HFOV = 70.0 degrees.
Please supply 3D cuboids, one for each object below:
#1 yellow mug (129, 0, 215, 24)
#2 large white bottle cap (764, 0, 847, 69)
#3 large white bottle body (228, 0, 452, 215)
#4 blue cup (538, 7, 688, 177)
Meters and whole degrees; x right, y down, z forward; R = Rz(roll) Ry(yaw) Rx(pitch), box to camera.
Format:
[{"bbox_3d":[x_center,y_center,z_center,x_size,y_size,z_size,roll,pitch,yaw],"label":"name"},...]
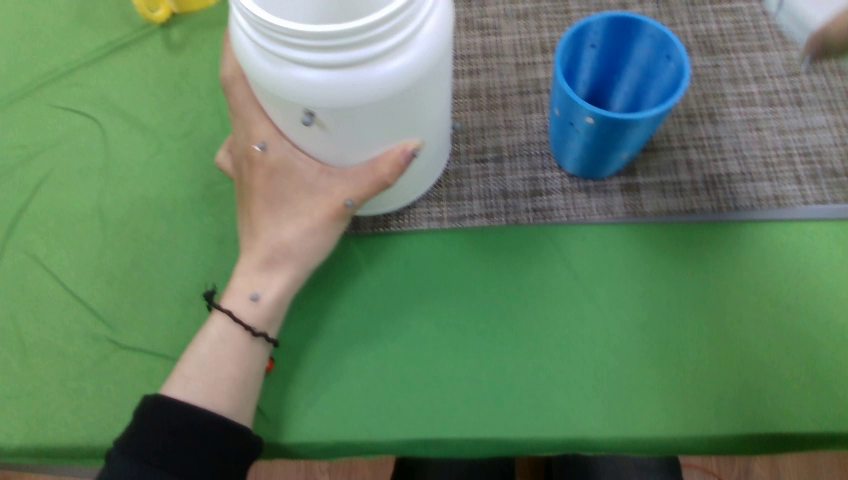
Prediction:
[{"bbox_3d":[-0.227,-0.248,0.527,0.100,0.064,0.130,8,68,5],"label":"yellow mug"},{"bbox_3d":[0.272,-0.157,0.375,0.115,0.018,0.114,-1,72,3],"label":"large white bottle cap"},{"bbox_3d":[-0.048,-0.112,0.395,0.130,0.186,0.129,0,66,1],"label":"large white bottle body"},{"bbox_3d":[0.126,-0.094,0.428,0.092,0.101,0.092,-1,66,3],"label":"blue cup"}]
